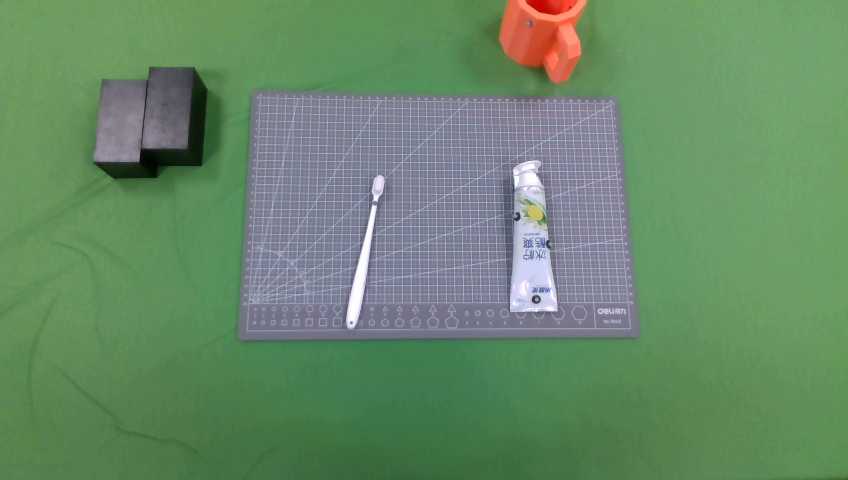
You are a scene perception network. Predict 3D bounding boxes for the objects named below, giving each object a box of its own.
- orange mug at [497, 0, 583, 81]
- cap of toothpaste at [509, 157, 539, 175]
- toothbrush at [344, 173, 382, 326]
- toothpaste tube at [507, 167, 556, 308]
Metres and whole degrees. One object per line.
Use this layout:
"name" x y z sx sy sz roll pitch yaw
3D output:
"orange mug" 0.145 -0.260 0.726 0.083 0.101 0.125 -21 74 -8
"cap of toothpaste" 0.118 -0.085 0.711 0.037 0.037 0.011 -12 74 -6
"toothbrush" -0.069 0.008 0.688 0.014 0.016 0.181 13 77 -13
"toothpaste tube" 0.119 -0.005 0.698 0.055 0.034 0.164 -3 81 4
